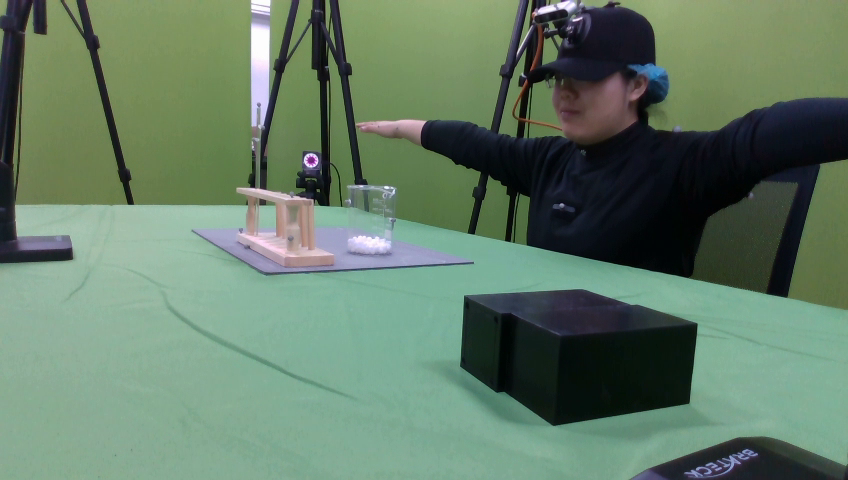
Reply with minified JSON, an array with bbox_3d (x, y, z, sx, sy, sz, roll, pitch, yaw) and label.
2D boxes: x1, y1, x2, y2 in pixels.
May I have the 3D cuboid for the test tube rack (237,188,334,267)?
[{"bbox_3d":[-0.202,-0.024,0.855,0.067,0.085,0.241,-2,8,-30],"label":"test tube rack"}]

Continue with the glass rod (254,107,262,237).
[{"bbox_3d":[-0.251,-0.101,0.912,0.008,0.199,0.008,2,3,0],"label":"glass rod"}]

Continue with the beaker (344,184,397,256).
[{"bbox_3d":[-0.077,-0.030,0.886,0.083,0.100,0.074,9,10,39],"label":"beaker"}]
